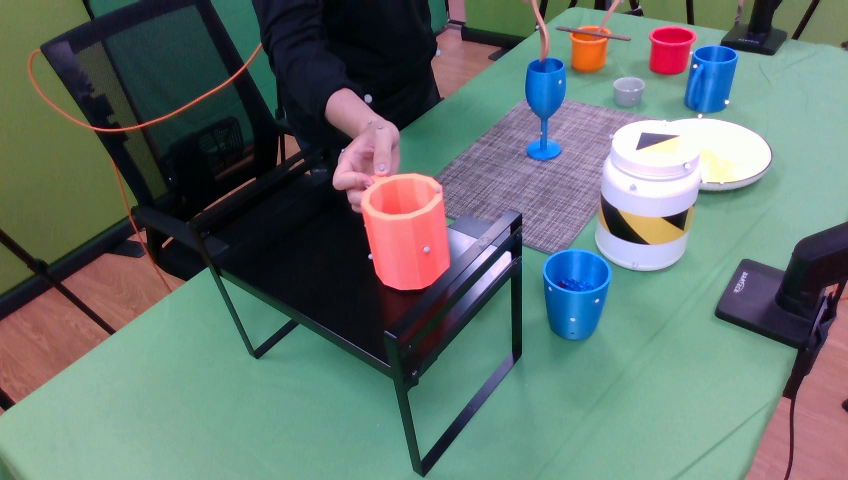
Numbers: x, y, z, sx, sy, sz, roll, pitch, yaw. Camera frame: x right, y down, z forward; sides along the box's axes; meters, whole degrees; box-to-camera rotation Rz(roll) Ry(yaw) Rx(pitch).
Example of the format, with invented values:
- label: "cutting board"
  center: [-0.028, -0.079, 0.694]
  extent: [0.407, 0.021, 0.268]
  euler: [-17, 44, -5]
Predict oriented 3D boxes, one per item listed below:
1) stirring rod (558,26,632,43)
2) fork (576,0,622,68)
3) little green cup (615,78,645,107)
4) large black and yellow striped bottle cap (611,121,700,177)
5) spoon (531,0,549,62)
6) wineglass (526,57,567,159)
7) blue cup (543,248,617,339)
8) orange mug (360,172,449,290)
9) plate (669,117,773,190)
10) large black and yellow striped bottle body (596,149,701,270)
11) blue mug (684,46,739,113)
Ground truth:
- label: "stirring rod"
  center: [0.381, -0.462, 1.356]
  extent: [0.175, 0.006, 0.014]
  euler: [23, 48, 29]
- label: "fork"
  center: [0.409, -0.484, 1.381]
  extent: [0.028, 0.019, 0.207]
  euler: [37, 101, 46]
- label: "little green cup"
  center: [0.426, -0.306, 1.257]
  extent: [0.061, 0.039, 0.061]
  euler: [-4, 40, 4]
- label: "large black and yellow striped bottle cap"
  center: [0.315, -0.126, 0.823]
  extent: [0.115, 0.019, 0.114]
  euler: [-4, 42, 4]
- label: "spoon"
  center: [0.187, -0.397, 1.010]
  extent: [0.021, 0.194, 0.041]
  euler: [-13, 10, 4]
- label: "wineglass"
  center: [0.221, -0.237, 1.097]
  extent: [0.074, 0.173, 0.073]
  euler: [-4, 41, 4]
- label: "blue cup"
  center: [0.199, 0.076, 0.797]
  extent: [0.092, 0.100, 0.092]
  euler: [-4, 39, 4]
- label: "orange mug"
  center: [-0.027, -0.020, 0.668]
  extent: [0.084, 0.101, 0.125]
  euler: [-23, 45, -18]
- label: "plate"
  center: [0.495, -0.148, 1.063]
  extent: [0.209, 0.038, 0.208]
  euler: [-5, 40, 4]
- label: "large black and yellow striped bottle body"
  center: [0.323, -0.062, 0.877]
  extent: [0.131, 0.185, 0.130]
  euler: [-5, 40, 4]
- label: "blue mug"
  center: [0.556, -0.310, 1.190]
  extent: [0.117, 0.106, 0.081]
  euler: [-32, 46, -25]
